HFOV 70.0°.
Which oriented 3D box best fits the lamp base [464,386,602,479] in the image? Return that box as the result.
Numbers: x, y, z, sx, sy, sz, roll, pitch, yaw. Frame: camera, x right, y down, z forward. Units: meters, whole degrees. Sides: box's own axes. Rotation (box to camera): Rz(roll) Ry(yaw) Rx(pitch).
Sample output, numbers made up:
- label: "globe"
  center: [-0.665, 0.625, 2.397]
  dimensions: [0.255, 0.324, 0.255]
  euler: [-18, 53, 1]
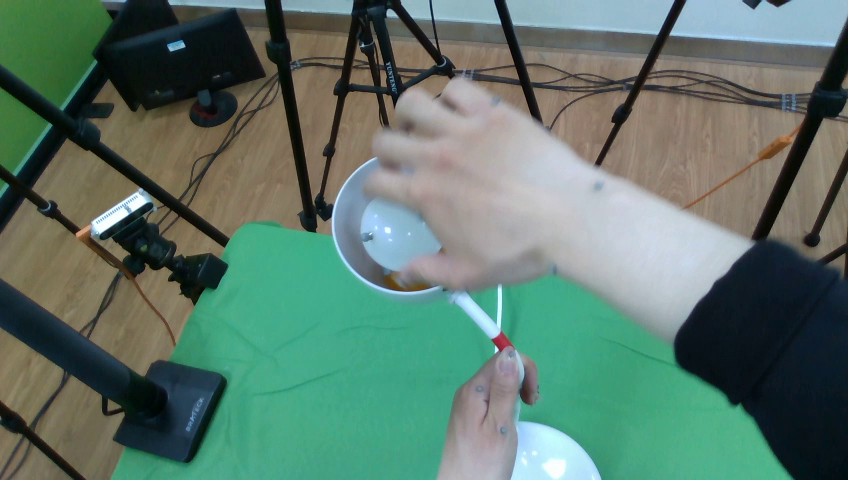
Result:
- label: "lamp base"
  center: [0.110, 0.237, 0.644]
  dimensions: [0.161, 0.182, 0.177]
  euler: [-25, 56, -8]

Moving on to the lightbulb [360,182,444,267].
- label: "lightbulb"
  center: [-0.013, -0.005, 0.452]
  dimensions: [0.059, 0.108, 0.059]
  euler: [-1, 75, 5]

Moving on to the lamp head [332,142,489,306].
- label: "lamp head"
  center: [-0.003, 0.002, 0.475]
  dimensions: [0.112, 0.124, 0.111]
  euler: [-3, 67, 6]
